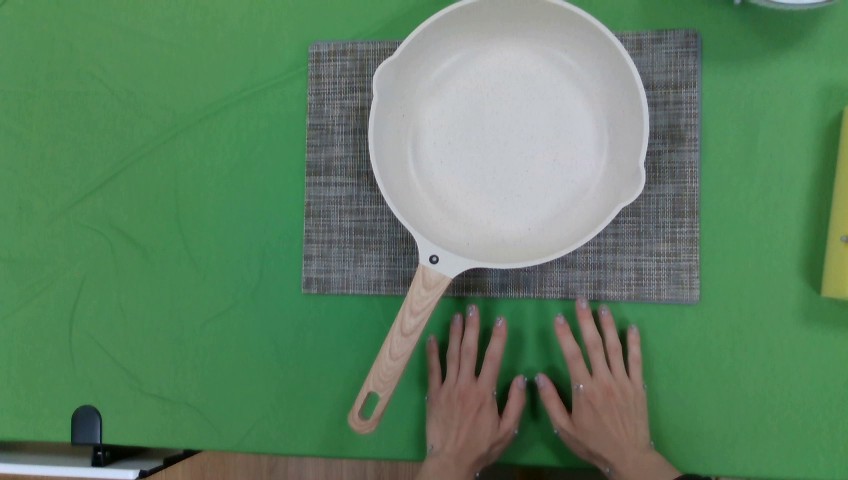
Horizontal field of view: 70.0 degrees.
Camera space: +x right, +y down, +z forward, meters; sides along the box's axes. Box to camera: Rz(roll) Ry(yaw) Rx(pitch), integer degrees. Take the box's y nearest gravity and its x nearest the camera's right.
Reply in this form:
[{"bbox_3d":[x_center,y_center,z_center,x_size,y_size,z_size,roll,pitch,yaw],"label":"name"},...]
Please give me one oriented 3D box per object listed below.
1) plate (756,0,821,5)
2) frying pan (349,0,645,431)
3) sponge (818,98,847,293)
[{"bbox_3d":[0.366,-0.333,0.607,0.207,0.039,0.207,0,87,7],"label":"plate"},{"bbox_3d":[0.037,-0.025,0.648,0.306,0.103,0.487,26,82,10],"label":"frying pan"},{"bbox_3d":[0.486,-0.042,0.611,0.118,0.061,0.206,7,89,9],"label":"sponge"}]
